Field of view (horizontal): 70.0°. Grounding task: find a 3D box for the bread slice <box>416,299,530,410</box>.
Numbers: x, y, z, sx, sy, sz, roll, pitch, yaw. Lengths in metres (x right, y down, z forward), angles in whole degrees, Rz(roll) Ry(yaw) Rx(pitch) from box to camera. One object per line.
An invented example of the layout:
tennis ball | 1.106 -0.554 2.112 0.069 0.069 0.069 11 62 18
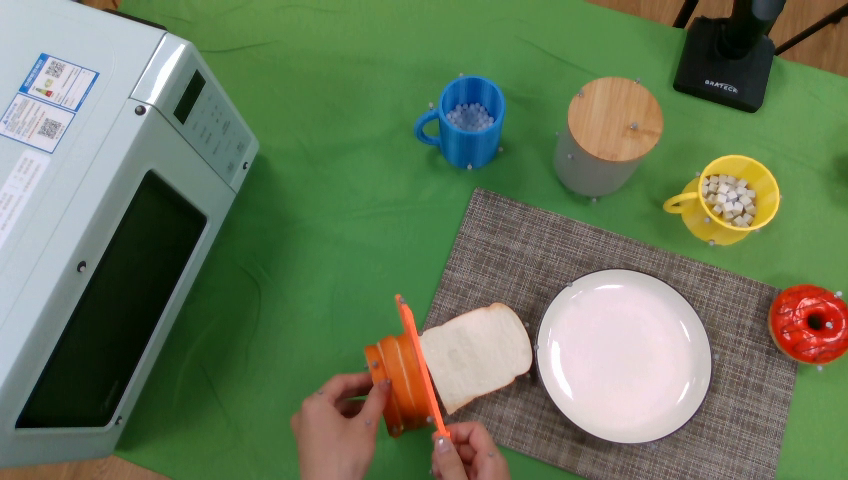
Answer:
bread slice | 0.064 0.135 0.744 0.131 0.019 0.104 -24 74 -1

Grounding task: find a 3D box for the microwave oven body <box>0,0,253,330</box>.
microwave oven body | -0.451 -0.029 0.681 0.325 0.261 0.440 20 77 6

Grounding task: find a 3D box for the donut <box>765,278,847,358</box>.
donut | 0.467 0.095 0.737 0.099 0.048 0.098 0 75 2

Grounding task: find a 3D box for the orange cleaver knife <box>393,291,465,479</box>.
orange cleaver knife | 0.005 0.151 0.590 0.012 0.077 0.211 -17 89 -10

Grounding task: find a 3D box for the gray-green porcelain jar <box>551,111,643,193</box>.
gray-green porcelain jar | 0.220 -0.124 0.764 0.106 0.127 0.105 0 74 2

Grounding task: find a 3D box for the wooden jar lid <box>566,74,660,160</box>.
wooden jar lid | 0.218 -0.141 0.704 0.108 0.021 0.107 0 73 1

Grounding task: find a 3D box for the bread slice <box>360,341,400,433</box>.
bread slice | -0.050 0.164 0.689 0.018 0.135 0.106 -17 73 -9

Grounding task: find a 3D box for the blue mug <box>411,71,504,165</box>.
blue mug | 0.041 -0.154 0.787 0.116 0.106 0.082 -6 74 0

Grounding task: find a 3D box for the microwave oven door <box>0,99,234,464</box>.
microwave oven door | -0.331 0.056 0.649 0.039 0.245 0.354 19 76 7

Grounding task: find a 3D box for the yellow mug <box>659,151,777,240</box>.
yellow mug | 0.368 -0.054 0.773 0.131 0.064 0.099 -4 75 1

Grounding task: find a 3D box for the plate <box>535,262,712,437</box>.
plate | 0.237 0.131 0.736 0.207 0.039 0.206 0 75 2

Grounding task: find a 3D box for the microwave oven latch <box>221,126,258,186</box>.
microwave oven latch | -0.247 -0.114 0.799 0.030 0.029 0.079 23 77 7
